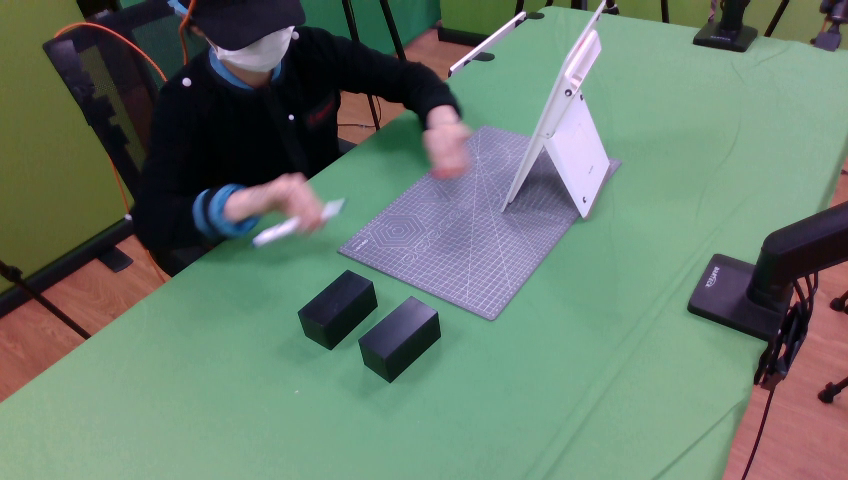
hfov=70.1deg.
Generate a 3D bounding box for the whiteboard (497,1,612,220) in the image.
[{"bbox_3d":[0.260,-0.178,0.963,0.143,0.306,0.217,28,49,9],"label":"whiteboard"}]

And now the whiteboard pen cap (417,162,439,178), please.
[{"bbox_3d":[0.006,-0.111,0.960,0.032,0.017,0.017,-26,44,-19],"label":"whiteboard pen cap"}]

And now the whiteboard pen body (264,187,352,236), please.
[{"bbox_3d":[-0.165,-0.043,0.871,0.141,0.017,0.016,-29,44,-12],"label":"whiteboard pen body"}]
